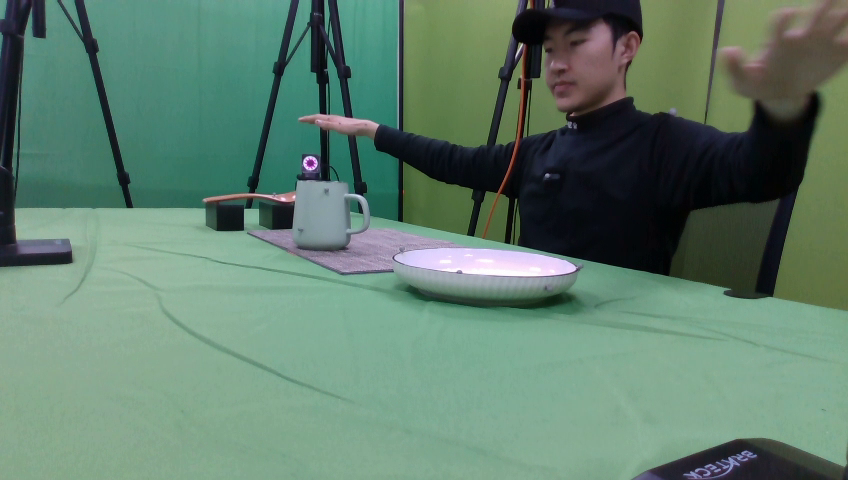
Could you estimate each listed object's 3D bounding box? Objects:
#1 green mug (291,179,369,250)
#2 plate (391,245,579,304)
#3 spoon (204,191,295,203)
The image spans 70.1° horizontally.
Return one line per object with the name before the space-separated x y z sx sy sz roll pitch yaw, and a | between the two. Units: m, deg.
green mug | -0.144 -0.040 0.944 0.125 0.105 0.093 4 7 16
plate | 0.066 0.038 0.683 0.209 0.038 0.209 2 7 0
spoon | -0.339 -0.086 1.208 0.195 0.021 0.041 -2 29 -30
